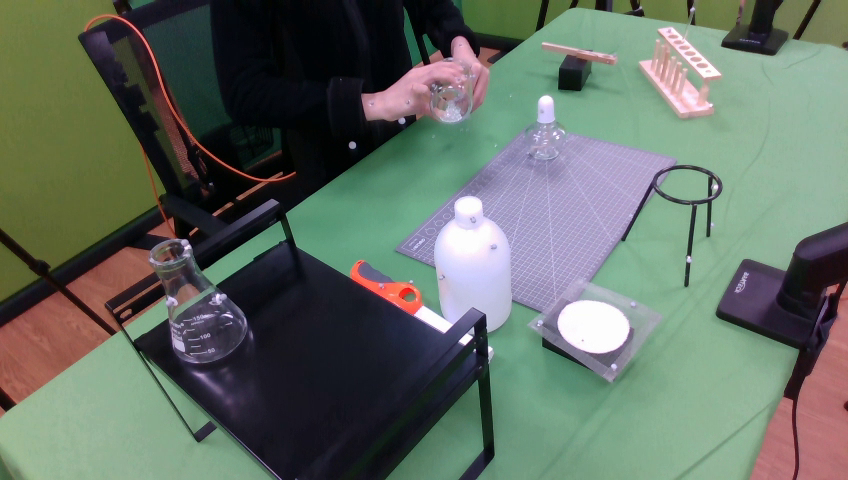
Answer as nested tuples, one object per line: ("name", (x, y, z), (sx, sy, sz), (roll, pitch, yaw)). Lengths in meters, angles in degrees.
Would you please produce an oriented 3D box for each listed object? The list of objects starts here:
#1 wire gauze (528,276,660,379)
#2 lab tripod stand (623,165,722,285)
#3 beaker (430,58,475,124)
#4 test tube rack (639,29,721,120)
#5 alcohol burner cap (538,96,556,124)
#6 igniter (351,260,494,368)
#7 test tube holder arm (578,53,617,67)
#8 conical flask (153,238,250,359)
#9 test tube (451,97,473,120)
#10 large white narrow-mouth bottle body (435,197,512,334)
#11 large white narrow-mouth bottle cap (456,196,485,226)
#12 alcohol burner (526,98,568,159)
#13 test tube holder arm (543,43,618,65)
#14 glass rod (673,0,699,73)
("wire gauze", (0.214, 0.103, 0.763), (0.124, 0.011, 0.122), (30, 52, 35))
("lab tripod stand", (0.365, -0.030, 0.874), (0.148, 0.132, 0.147), (-6, 41, 6))
("beaker", (0.047, -0.239, 0.986), (0.074, 0.084, 0.100), (-2, 39, 6))
("test tube rack", (0.527, -0.351, 1.262), (0.067, 0.085, 0.241), (-8, 40, 1))
("alcohol burner cap", (0.222, -0.237, 1.095), (0.034, 0.048, 0.033), (-7, 35, 5))
("igniter", (-0.013, 0.098, 0.864), (0.274, 0.025, 0.057), (30, 65, 36))
("test tube holder arm", (0.376, -0.393, 1.314), (0.087, 0.015, 0.010), (26, 51, 32))
("conical flask", (-0.225, 0.055, 0.597), (0.075, 0.122, 0.075), (-5, 41, 4))
("test tube", (0.072, -0.242, 1.117), (0.017, 0.017, 0.151), (3, 2, 14))
("large white narrow-mouth bottle body", (0.066, 0.028, 0.805), (0.102, 0.195, 0.101), (-4, 40, 4))
("large white narrow-mouth bottle cap", (0.058, -0.036, 0.749), (0.038, 0.024, 0.037), (-4, 40, 4))
("alcohol burner", (0.228, -0.210, 1.118), (0.078, 0.119, 0.077), (-5, 43, 5))
("test tube holder arm", (0.345, -0.413, 1.341), (0.177, 0.015, 0.013), (25, 50, 31))
("glass rod", (0.538, -0.425, 1.245), (0.008, 0.200, 0.008), (0, 47, 0))
